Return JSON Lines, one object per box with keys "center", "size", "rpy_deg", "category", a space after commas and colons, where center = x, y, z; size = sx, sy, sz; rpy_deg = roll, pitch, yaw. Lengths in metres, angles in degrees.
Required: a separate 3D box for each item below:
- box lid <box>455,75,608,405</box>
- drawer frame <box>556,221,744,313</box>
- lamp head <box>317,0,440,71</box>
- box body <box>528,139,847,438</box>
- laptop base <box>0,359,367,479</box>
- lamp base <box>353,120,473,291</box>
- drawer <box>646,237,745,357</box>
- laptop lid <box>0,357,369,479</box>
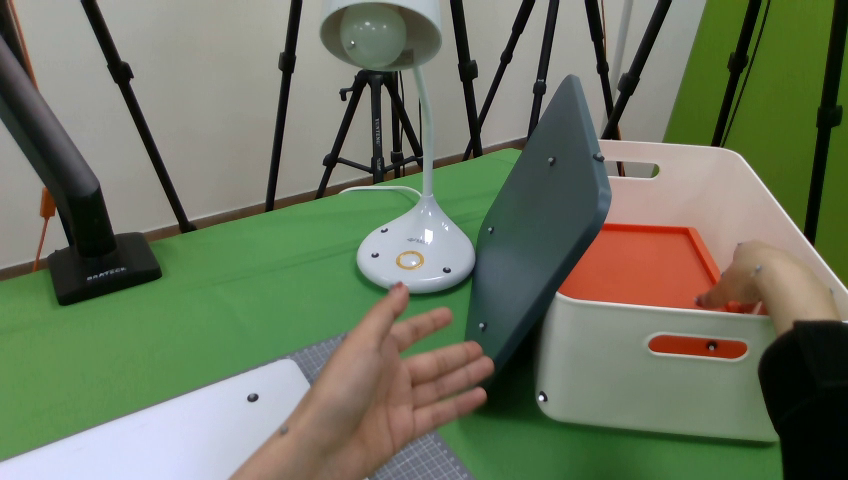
{"center": [0.109, -0.019, 0.670], "size": [0.015, 0.264, 0.368], "rpy_deg": [24, 32, -6], "category": "box lid"}
{"center": [0.227, 0.063, 0.684], "size": [0.201, 0.083, 0.212], "rpy_deg": [2, 31, 3], "category": "drawer frame"}
{"center": [-0.039, -0.233, 0.563], "size": [0.112, 0.113, 0.122], "rpy_deg": [2, 71, 1], "category": "lamp head"}
{"center": [0.245, 0.030, 0.675], "size": [0.254, 0.161, 0.361], "rpy_deg": [4, 31, 5], "category": "box body"}
{"center": [-0.226, 0.227, 0.467], "size": [0.355, 0.023, 0.233], "rpy_deg": [-17, 40, -28], "category": "laptop base"}
{"center": [-0.012, -0.053, 0.782], "size": [0.160, 0.181, 0.178], "rpy_deg": [4, 30, 5], "category": "lamp base"}
{"center": [0.227, 0.069, 0.684], "size": [0.194, 0.074, 0.210], "rpy_deg": [1, 30, 4], "category": "drawer"}
{"center": [-0.224, 0.218, 0.460], "size": [0.358, 0.013, 0.239], "rpy_deg": [-16, 38, -27], "category": "laptop lid"}
